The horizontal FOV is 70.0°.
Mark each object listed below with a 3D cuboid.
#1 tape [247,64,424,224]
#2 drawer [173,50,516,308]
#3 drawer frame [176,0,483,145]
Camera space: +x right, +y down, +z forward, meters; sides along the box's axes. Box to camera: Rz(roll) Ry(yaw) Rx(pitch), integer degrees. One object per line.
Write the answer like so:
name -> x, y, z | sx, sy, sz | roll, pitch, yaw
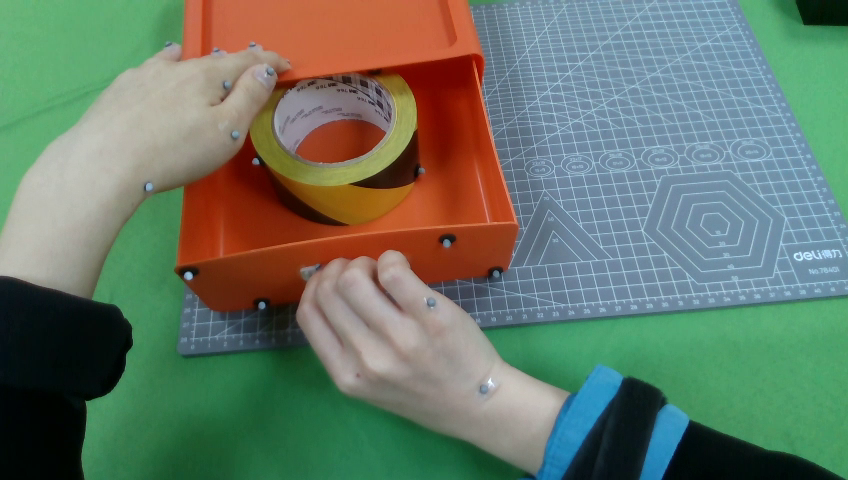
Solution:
tape -> -0.058, -0.072, 0.420 | 0.117, 0.053, 0.116 | 0, 61, 1
drawer -> -0.056, -0.070, 0.412 | 0.194, 0.074, 0.209 | -8, 61, -3
drawer frame -> -0.075, -0.180, 0.466 | 0.202, 0.083, 0.211 | -10, 62, -3
